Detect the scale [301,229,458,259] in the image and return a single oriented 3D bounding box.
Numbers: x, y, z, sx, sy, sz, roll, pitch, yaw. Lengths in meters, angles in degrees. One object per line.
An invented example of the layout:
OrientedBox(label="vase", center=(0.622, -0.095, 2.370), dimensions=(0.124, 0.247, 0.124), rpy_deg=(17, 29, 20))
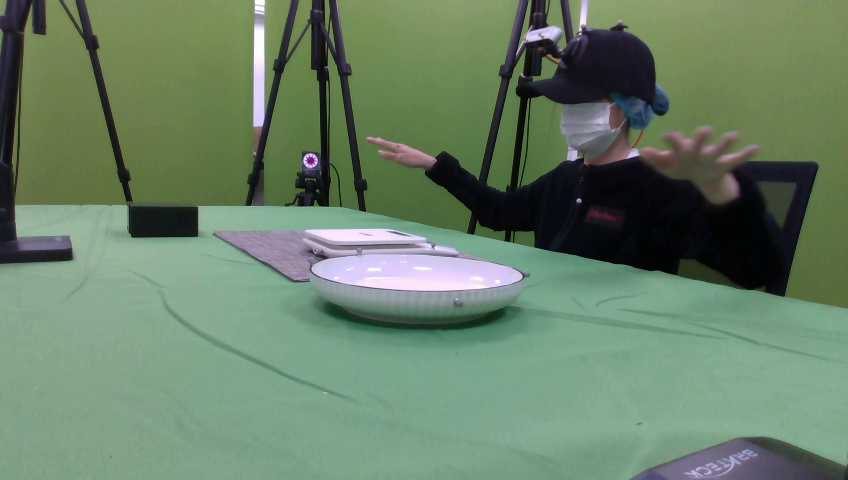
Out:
OrientedBox(label="scale", center=(-0.065, 0.007, 0.878), dimensions=(0.202, 0.031, 0.148), rpy_deg=(0, 8, -29))

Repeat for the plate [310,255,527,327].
OrientedBox(label="plate", center=(-0.006, 0.047, 0.587), dimensions=(0.208, 0.039, 0.207), rpy_deg=(3, 7, 0))
